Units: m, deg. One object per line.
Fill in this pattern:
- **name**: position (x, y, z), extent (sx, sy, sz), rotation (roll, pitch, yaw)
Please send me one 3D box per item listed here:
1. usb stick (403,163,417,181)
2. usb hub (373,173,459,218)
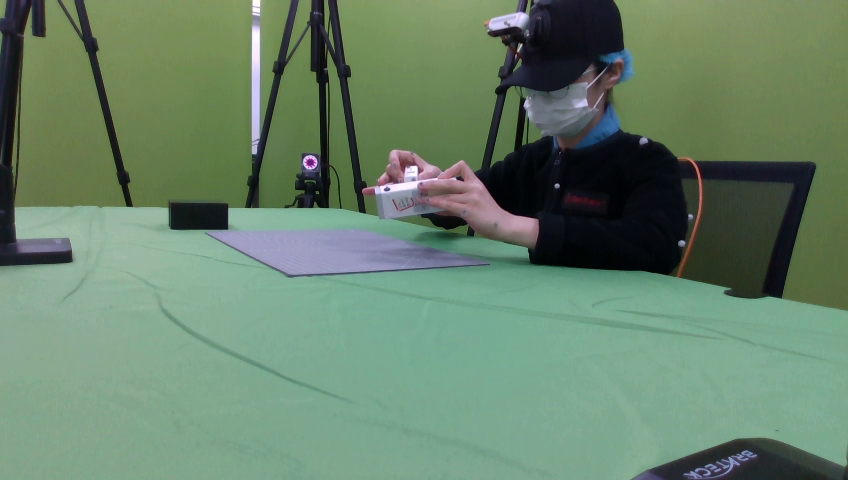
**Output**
- **usb stick**: position (-0.022, -0.097, 0.939), extent (0.021, 0.027, 0.059), rotation (1, 32, 0)
- **usb hub**: position (-0.011, -0.068, 0.918), extent (0.125, 0.049, 0.025), rotation (-10, 33, -5)
